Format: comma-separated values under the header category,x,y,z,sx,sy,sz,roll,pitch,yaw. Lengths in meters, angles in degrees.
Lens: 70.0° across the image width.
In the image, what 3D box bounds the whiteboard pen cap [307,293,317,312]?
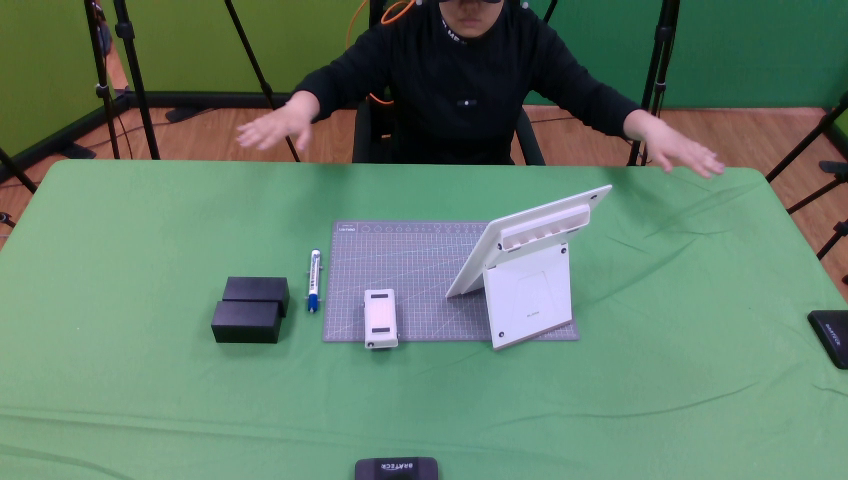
category,x,y,z,sx,sy,sz,roll,pitch,yaw
whiteboard pen cap,-0.199,0.110,1.078,0.018,0.018,0.033,-2,47,-6

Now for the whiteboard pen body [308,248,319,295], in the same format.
category,x,y,z,sx,sy,sz,roll,pitch,yaw
whiteboard pen body,-0.204,0.069,1.119,0.017,0.017,0.140,-1,46,-5

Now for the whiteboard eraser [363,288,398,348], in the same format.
category,x,y,z,sx,sy,sz,roll,pitch,yaw
whiteboard eraser,-0.076,0.136,1.042,0.056,0.042,0.112,-1,46,-7

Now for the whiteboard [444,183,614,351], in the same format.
category,x,y,z,sx,sy,sz,roll,pitch,yaw
whiteboard,0.186,0.065,0.990,0.217,0.306,0.143,-16,69,-19
